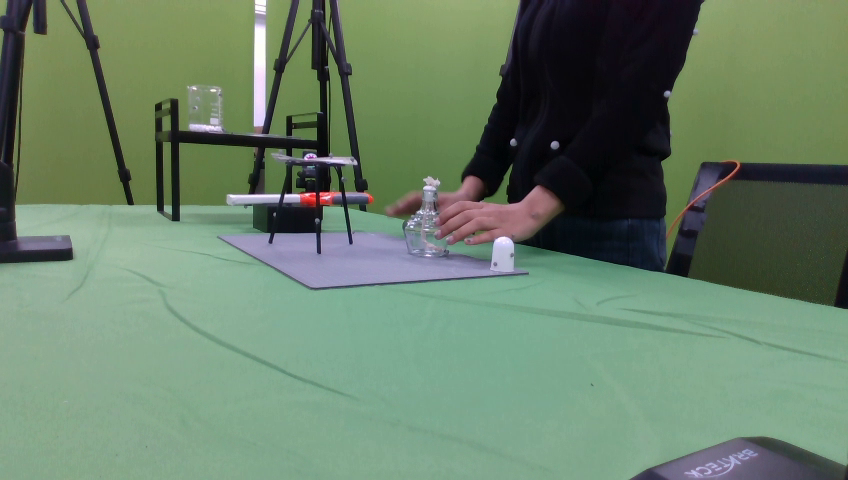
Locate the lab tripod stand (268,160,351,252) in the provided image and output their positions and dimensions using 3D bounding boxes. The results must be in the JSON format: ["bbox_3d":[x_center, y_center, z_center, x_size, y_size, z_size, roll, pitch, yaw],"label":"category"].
[{"bbox_3d":[-0.171,-0.055,0.922,0.148,0.131,0.148,1,9,0],"label":"lab tripod stand"}]

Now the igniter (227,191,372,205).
[{"bbox_3d":[-0.232,-0.080,1.161,0.278,0.025,0.057,-3,13,-28],"label":"igniter"}]

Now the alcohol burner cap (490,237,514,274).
[{"bbox_3d":[0.104,0.020,0.793,0.034,0.048,0.034,3,6,0],"label":"alcohol burner cap"}]

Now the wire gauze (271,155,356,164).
[{"bbox_3d":[-0.167,-0.122,0.917,0.125,0.011,0.121,0,7,-9],"label":"wire gauze"}]

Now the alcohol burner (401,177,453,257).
[{"bbox_3d":[0.006,-0.034,0.903,0.078,0.119,0.078,4,6,0],"label":"alcohol burner"}]

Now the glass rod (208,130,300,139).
[{"bbox_3d":[-0.367,-0.231,1.321,0.201,0.008,0.008,-1,8,-30],"label":"glass rod"}]

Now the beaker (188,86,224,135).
[{"bbox_3d":[-0.474,-0.280,1.311,0.074,0.100,0.084,5,8,25],"label":"beaker"}]
